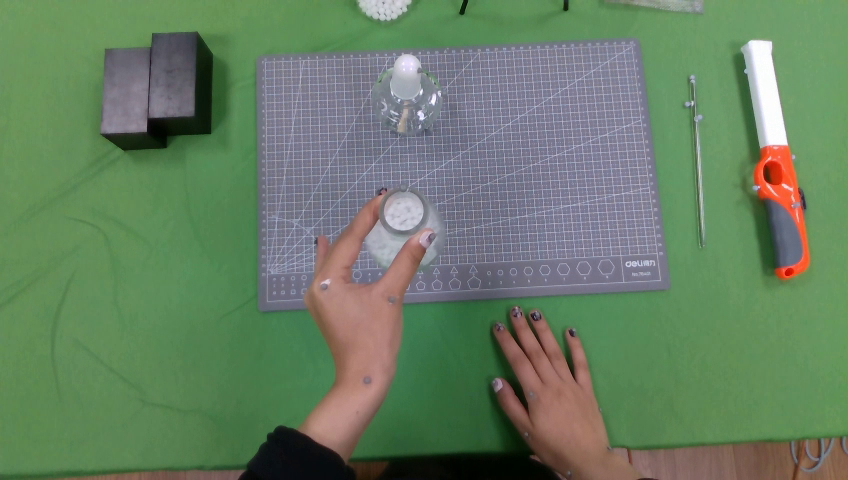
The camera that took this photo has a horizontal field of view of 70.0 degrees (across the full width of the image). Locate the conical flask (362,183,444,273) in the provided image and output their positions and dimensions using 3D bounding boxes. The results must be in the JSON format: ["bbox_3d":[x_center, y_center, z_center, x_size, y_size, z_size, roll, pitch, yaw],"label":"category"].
[{"bbox_3d":[-0.018,-0.014,0.503,0.075,0.122,0.075,0,83,-2],"label":"conical flask"}]

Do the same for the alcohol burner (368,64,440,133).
[{"bbox_3d":[-0.021,-0.160,0.645,0.078,0.119,0.077,0,78,-2],"label":"alcohol burner"}]

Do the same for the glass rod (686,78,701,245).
[{"bbox_3d":[0.306,-0.092,0.691,0.008,0.008,0.199,2,79,0],"label":"glass rod"}]

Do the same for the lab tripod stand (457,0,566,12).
[{"bbox_3d":[0.102,-0.322,0.669,0.148,0.132,0.148,0,81,0],"label":"lab tripod stand"}]

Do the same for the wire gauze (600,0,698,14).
[{"bbox_3d":[0.273,-0.338,0.736,0.125,0.011,0.121,4,80,-1],"label":"wire gauze"}]

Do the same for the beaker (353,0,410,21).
[{"bbox_3d":[-0.049,-0.303,0.681,0.084,0.100,0.074,-44,82,-8],"label":"beaker"}]

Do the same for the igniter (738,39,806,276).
[{"bbox_3d":[0.391,-0.096,0.682,0.057,0.025,0.275,-1,79,-11],"label":"igniter"}]

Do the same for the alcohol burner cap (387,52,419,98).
[{"bbox_3d":[-0.020,-0.169,0.610,0.034,0.048,0.033,2,72,-7],"label":"alcohol burner cap"}]
